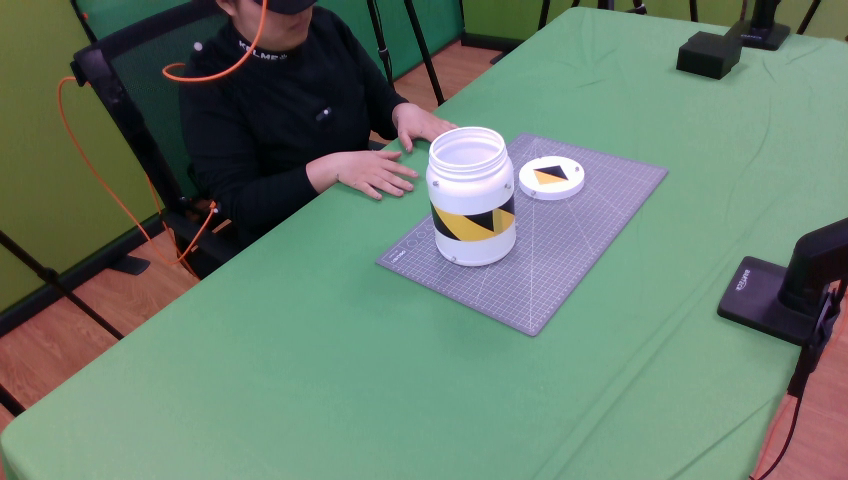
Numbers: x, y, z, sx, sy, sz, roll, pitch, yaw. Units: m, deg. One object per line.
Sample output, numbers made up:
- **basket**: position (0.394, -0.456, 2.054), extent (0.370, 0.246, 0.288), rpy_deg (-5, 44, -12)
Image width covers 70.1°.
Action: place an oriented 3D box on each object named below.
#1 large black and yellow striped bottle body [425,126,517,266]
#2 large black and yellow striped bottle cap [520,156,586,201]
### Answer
- **large black and yellow striped bottle body**: position (0.072, -0.066, 0.917), extent (0.131, 0.185, 0.130), rpy_deg (-5, 40, 5)
- **large black and yellow striped bottle cap**: position (0.228, -0.111, 1.072), extent (0.115, 0.019, 0.114), rpy_deg (-6, 40, 6)
